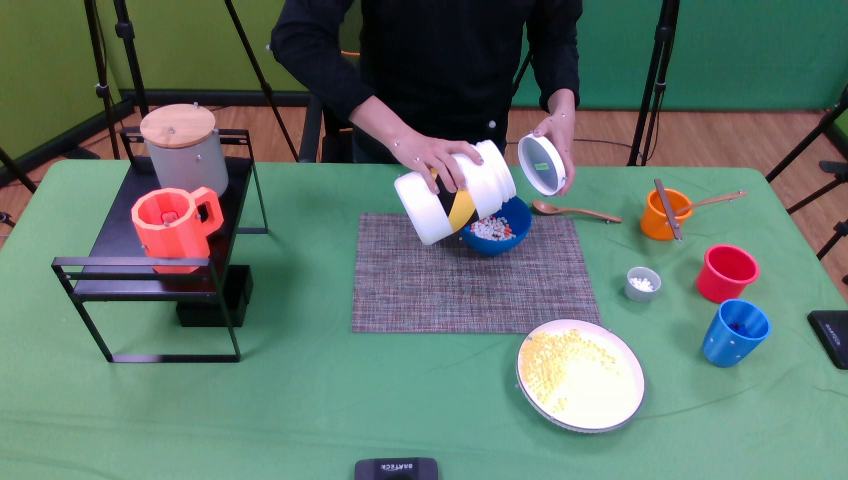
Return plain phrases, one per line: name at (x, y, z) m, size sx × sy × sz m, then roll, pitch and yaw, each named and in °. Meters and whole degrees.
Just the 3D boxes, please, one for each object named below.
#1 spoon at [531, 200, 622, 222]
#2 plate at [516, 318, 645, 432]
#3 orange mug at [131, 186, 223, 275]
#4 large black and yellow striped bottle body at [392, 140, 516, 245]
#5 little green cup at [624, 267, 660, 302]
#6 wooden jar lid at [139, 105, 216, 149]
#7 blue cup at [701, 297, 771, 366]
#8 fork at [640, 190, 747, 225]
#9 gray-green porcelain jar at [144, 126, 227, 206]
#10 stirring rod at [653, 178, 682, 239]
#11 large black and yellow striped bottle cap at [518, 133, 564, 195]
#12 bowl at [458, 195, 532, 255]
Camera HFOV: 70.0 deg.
spoon at (0.321, -0.060, 1.279) m, size 0.194 × 0.022 × 0.041 m, roll 8°, pitch 32°, yaw 4°
plate at (0.253, 0.221, 0.993) m, size 0.209 × 0.038 × 0.208 m, roll 2°, pitch 46°, yaw -2°
orange mug at (-0.354, -0.023, 0.887) m, size 0.083 × 0.101 × 0.126 m, roll 31°, pitch 56°, yaw 24°
large black and yellow striped bottle body at (0.052, -0.085, 1.045) m, size 0.184 × 0.131 × 0.130 m, roll -27°, pitch 50°, yaw 0°
little green cup at (0.406, 0.084, 1.135) m, size 0.061 × 0.039 × 0.061 m, roll 3°, pitch 46°, yaw -3°
wooden jar lid at (-0.372, -0.169, 0.920) m, size 0.108 × 0.021 × 0.107 m, roll 4°, pitch 44°, yaw -4°
blue cup at (0.519, 0.162, 1.025) m, size 0.093 × 0.101 × 0.092 m, roll 3°, pitch 45°, yaw -3°
fork at (0.533, -0.064, 1.211) m, size 0.207 × 0.019 × 0.028 m, roll -22°, pitch 28°, yaw 38°
gray-green porcelain jar at (-0.375, -0.125, 0.967) m, size 0.106 × 0.127 × 0.105 m, roll 2°, pitch 46°, yaw -2°
stirring rod at (0.481, -0.065, 1.204) m, size 0.014 × 0.006 × 0.175 m, roll 2°, pitch 46°, yaw 0°
large black and yellow striped bottle cap at (0.206, -0.135, 1.073) m, size 0.019 × 0.115 × 0.114 m, roll -29°, pitch 54°, yaw -13°
bowl at (0.130, -0.025, 1.186) m, size 0.151 × 0.077 × 0.150 m, roll 2°, pitch 46°, yaw -2°
